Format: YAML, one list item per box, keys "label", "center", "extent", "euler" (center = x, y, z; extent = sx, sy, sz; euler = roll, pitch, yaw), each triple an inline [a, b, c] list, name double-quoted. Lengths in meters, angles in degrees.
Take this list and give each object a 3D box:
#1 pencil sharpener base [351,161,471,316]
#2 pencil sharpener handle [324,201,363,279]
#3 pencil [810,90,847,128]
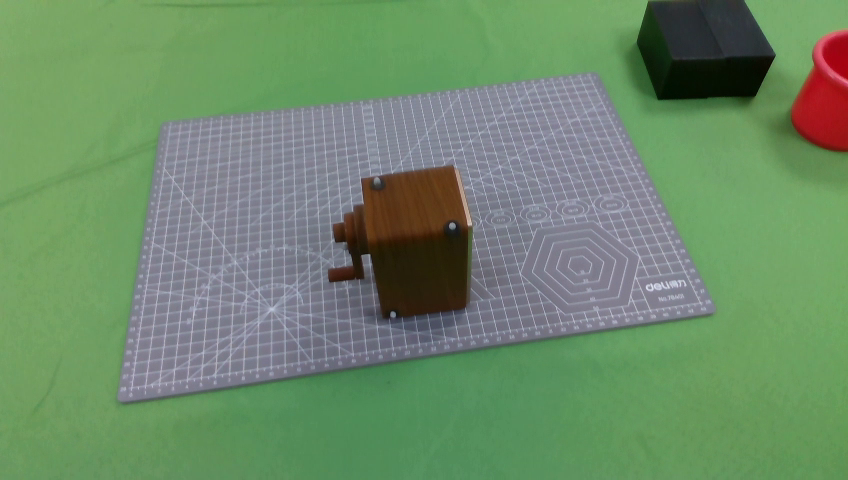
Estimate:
- label: "pencil sharpener base"
  center: [-0.009, 0.003, 0.443]
  extent: [0.077, 0.108, 0.060]
  euler: [-8, 54, -4]
- label: "pencil sharpener handle"
  center: [-0.060, 0.004, 0.429]
  extent: [0.031, 0.068, 0.035]
  euler: [-8, 47, -3]
- label: "pencil"
  center: [0.426, -0.173, 0.538]
  extent: [0.194, 0.012, 0.012]
  euler: [-47, 56, 19]
